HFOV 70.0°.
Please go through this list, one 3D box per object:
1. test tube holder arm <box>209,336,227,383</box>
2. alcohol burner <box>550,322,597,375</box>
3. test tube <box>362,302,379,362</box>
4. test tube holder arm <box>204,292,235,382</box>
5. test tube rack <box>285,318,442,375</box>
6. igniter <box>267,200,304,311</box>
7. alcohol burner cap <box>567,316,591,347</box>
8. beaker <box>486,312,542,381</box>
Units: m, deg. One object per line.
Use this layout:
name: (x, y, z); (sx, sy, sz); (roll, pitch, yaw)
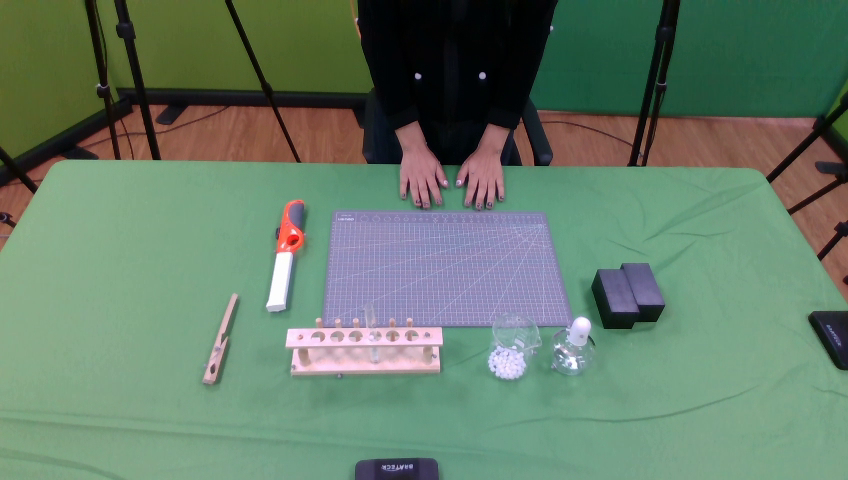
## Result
test tube holder arm: (-0.338, 0.193, 0.991); (0.010, 0.015, 0.087); (28, 39, -26)
alcohol burner: (0.248, 0.168, 0.991); (0.078, 0.119, 0.077); (2, 48, -2)
test tube: (-0.082, 0.146, 0.939); (0.017, 0.151, 0.017); (0, 47, 1)
test tube holder arm: (-0.343, 0.159, 1.020); (0.013, 0.015, 0.177); (27, 39, -27)
test tube rack: (-0.095, 0.168, 0.986); (0.242, 0.085, 0.066); (0, 46, -4)
igniter: (-0.263, 0.020, 1.156); (0.057, 0.025, 0.274); (-6, 46, 4)
alcohol burner cap: (0.248, 0.143, 0.965); (0.034, 0.048, 0.033); (4, 40, -3)
beaker: (0.144, 0.177, 0.985); (0.084, 0.101, 0.074); (22, 49, 16)
